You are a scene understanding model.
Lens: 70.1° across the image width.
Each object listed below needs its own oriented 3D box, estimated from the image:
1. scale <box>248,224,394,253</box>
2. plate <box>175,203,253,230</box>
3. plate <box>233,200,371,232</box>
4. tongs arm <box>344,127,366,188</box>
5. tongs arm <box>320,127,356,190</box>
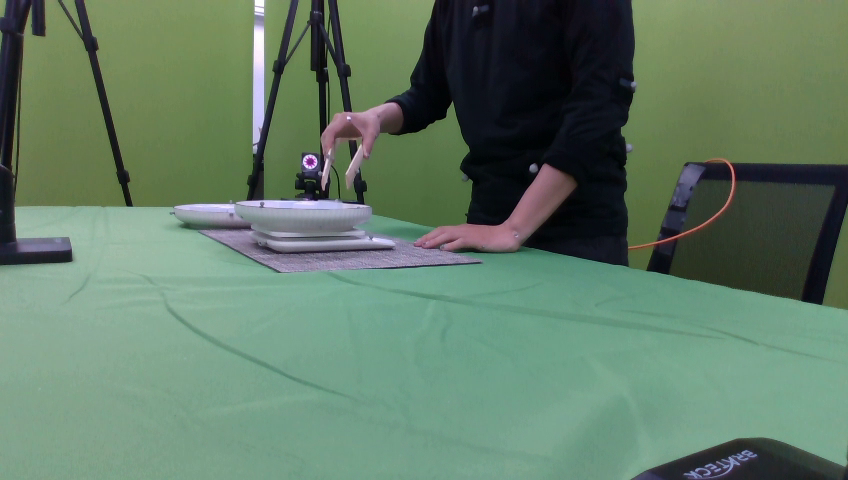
[{"bbox_3d":[-0.162,-0.006,0.954,0.202,0.031,0.148,-2,8,-32],"label":"scale"},{"bbox_3d":[-0.381,-0.047,1.199,0.208,0.039,0.207,3,7,0],"label":"plate"},{"bbox_3d":[-0.188,-0.039,0.939,0.209,0.038,0.209,2,7,0],"label":"plate"},{"bbox_3d":[-0.128,-0.161,1.117,0.028,0.028,0.387,-8,21,1],"label":"tongs arm"},{"bbox_3d":[-0.153,-0.160,1.117,0.051,0.026,0.384,-6,21,-3],"label":"tongs arm"}]
